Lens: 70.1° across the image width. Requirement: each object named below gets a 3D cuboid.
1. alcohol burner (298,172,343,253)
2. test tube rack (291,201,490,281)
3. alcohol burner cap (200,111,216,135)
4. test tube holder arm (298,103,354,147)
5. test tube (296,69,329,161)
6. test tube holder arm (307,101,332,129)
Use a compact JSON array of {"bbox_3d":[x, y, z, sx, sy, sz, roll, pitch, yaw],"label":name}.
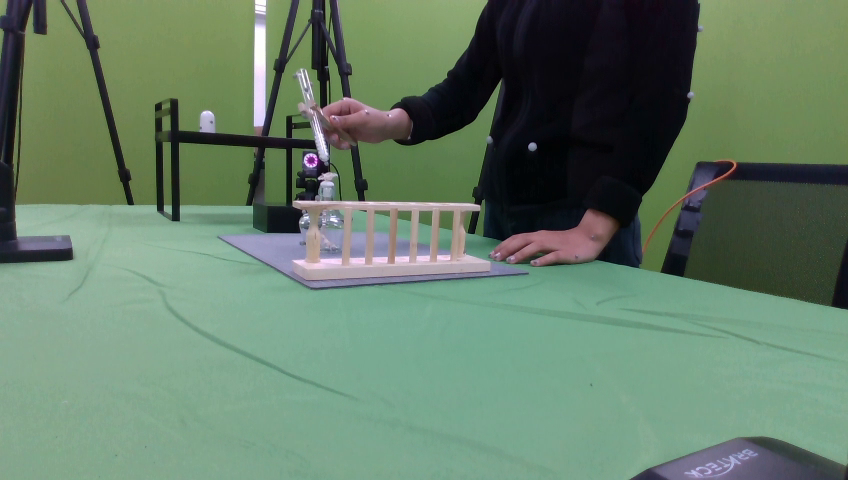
[{"bbox_3d":[-0.146,-0.040,0.894,0.078,0.119,0.078,5,7,0],"label":"alcohol burner"},{"bbox_3d":[-0.035,-0.002,0.745,0.243,0.085,0.066,-1,8,-28],"label":"test tube rack"},{"bbox_3d":[-0.448,-0.243,1.255,0.034,0.048,0.034,2,8,0],"label":"alcohol burner cap"},{"bbox_3d":[-0.153,-0.181,0.968,0.013,0.015,0.179,-13,-12,14],"label":"test tube holder arm"},{"bbox_3d":[-0.166,-0.186,0.901,0.017,0.150,0.017,-16,-12,-3],"label":"test tube"},{"bbox_3d":[-0.159,-0.190,0.924,0.010,0.015,0.088,-12,-11,8],"label":"test tube holder arm"}]
